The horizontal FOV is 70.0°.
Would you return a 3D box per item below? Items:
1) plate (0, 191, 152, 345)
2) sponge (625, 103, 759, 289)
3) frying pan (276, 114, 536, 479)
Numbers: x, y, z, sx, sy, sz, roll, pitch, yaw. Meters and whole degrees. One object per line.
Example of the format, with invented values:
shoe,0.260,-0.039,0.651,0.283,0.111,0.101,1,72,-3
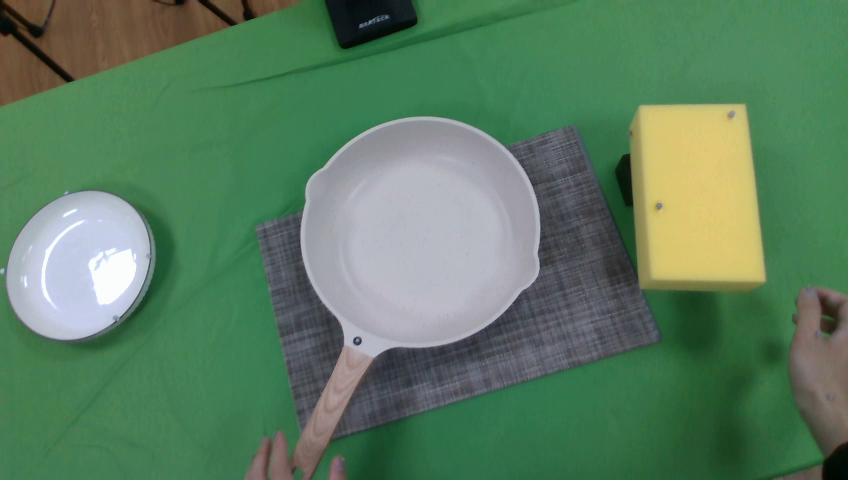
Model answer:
plate,-0.462,0.038,0.815,0.207,0.039,0.206,-1,75,5
sponge,0.299,-0.050,0.691,0.118,0.061,0.205,0,75,6
frying pan,-0.054,0.077,0.722,0.305,0.103,0.486,23,71,13
